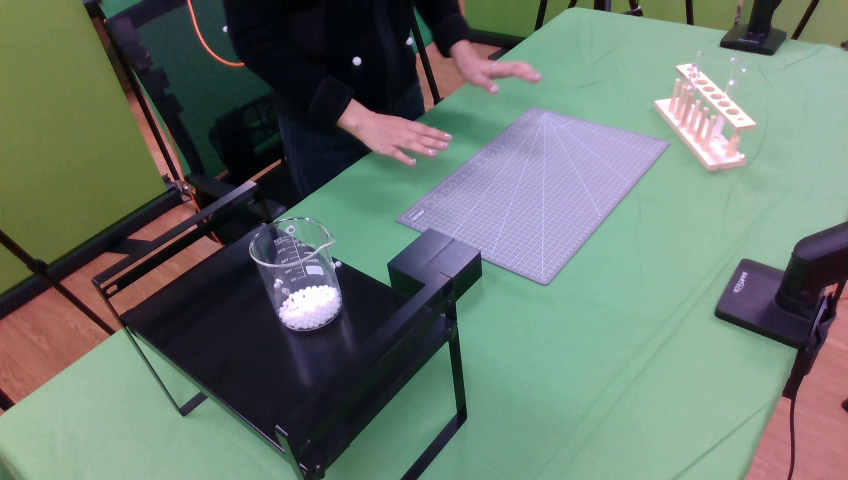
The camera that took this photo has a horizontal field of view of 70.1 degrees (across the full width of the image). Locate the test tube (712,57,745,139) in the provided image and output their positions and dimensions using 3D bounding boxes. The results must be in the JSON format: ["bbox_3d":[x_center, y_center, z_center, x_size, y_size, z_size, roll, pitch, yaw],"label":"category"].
[{"bbox_3d":[0.529,-0.244,1.054,0.017,0.151,0.017,-1,39,1],"label":"test tube"}]

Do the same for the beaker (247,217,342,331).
[{"bbox_3d":[-0.124,0.037,0.614,0.084,0.101,0.073,-7,41,0],"label":"beaker"}]

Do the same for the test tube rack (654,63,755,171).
[{"bbox_3d":[0.510,-0.233,1.120,0.067,0.085,0.241,-9,41,-1],"label":"test tube rack"}]

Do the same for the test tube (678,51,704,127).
[{"bbox_3d":[0.486,-0.272,1.100,0.017,0.151,0.017,-3,42,3],"label":"test tube"}]
